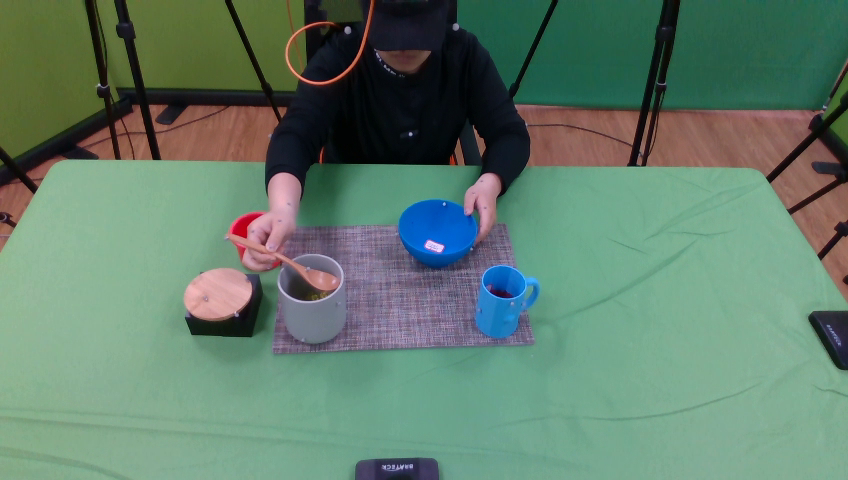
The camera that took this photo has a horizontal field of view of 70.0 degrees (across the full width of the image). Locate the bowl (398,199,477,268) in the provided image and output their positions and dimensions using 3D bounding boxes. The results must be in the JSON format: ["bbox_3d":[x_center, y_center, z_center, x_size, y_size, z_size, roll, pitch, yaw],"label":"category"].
[{"bbox_3d":[0.024,-0.001,1.157,0.151,0.077,0.150,2,46,-2],"label":"bowl"}]

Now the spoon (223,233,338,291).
[{"bbox_3d":[-0.225,0.032,0.961,0.194,0.021,0.041,30,38,-19],"label":"spoon"}]

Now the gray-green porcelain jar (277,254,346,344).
[{"bbox_3d":[-0.184,0.102,1.008,0.106,0.127,0.105,2,46,-2],"label":"gray-green porcelain jar"}]

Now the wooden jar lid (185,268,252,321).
[{"bbox_3d":[-0.343,0.093,1.015,0.108,0.021,0.107,3,46,-3],"label":"wooden jar lid"}]

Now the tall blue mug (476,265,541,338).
[{"bbox_3d":[0.142,0.099,1.047,0.077,0.108,0.107,33,52,27],"label":"tall blue mug"}]
